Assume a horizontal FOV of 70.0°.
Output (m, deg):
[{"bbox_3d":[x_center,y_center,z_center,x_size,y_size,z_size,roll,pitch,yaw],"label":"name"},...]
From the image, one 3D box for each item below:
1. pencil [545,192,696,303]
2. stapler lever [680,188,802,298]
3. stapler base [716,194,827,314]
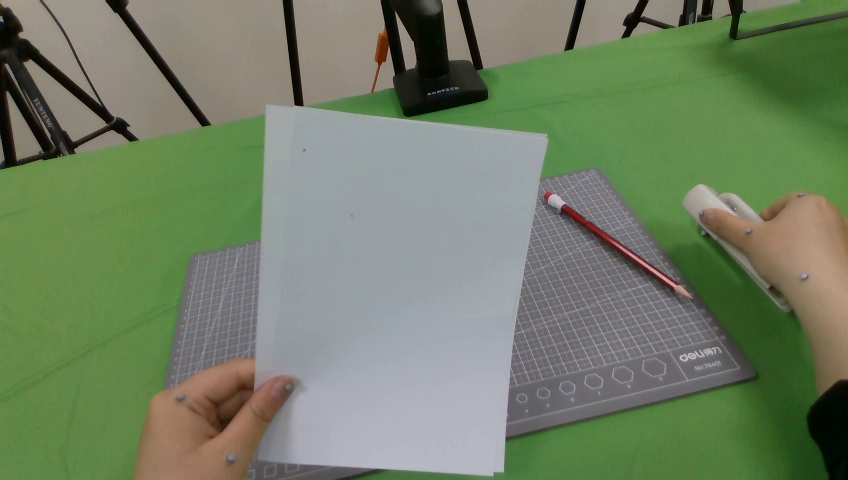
[{"bbox_3d":[0.175,0.002,0.562,0.012,0.012,0.192,-25,42,-18],"label":"pencil"},{"bbox_3d":[0.257,-0.003,0.503,0.040,0.027,0.116,17,30,-28],"label":"stapler lever"},{"bbox_3d":[0.277,0.004,0.516,0.024,0.041,0.129,17,31,-28],"label":"stapler base"}]
